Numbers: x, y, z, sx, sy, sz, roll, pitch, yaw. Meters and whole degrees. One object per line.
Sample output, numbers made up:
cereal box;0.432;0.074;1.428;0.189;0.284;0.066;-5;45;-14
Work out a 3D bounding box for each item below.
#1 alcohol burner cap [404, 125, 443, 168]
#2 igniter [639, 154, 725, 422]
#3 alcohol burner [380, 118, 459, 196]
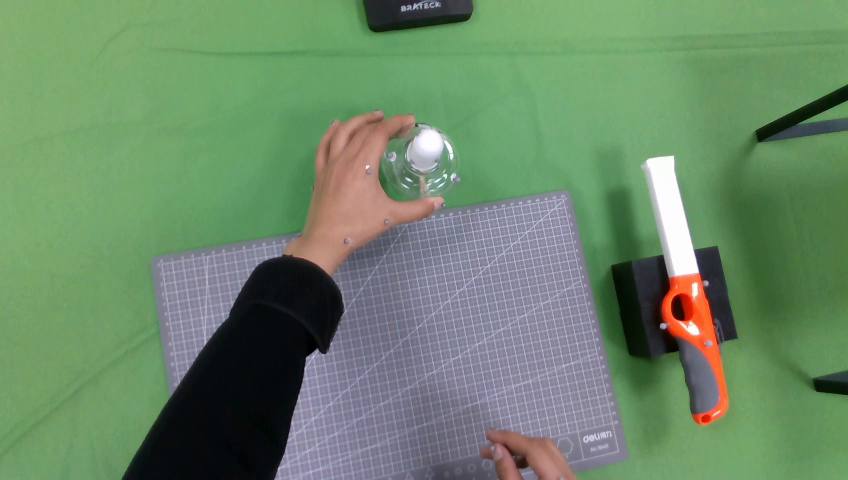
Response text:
alcohol burner cap;0.001;-0.086;0.549;0.034;0.048;0.033;1;81;-9
igniter;0.266;0.045;0.627;0.057;0.025;0.275;-7;81;-9
alcohol burner;-0.001;-0.084;0.580;0.078;0.119;0.077;1;82;-10
